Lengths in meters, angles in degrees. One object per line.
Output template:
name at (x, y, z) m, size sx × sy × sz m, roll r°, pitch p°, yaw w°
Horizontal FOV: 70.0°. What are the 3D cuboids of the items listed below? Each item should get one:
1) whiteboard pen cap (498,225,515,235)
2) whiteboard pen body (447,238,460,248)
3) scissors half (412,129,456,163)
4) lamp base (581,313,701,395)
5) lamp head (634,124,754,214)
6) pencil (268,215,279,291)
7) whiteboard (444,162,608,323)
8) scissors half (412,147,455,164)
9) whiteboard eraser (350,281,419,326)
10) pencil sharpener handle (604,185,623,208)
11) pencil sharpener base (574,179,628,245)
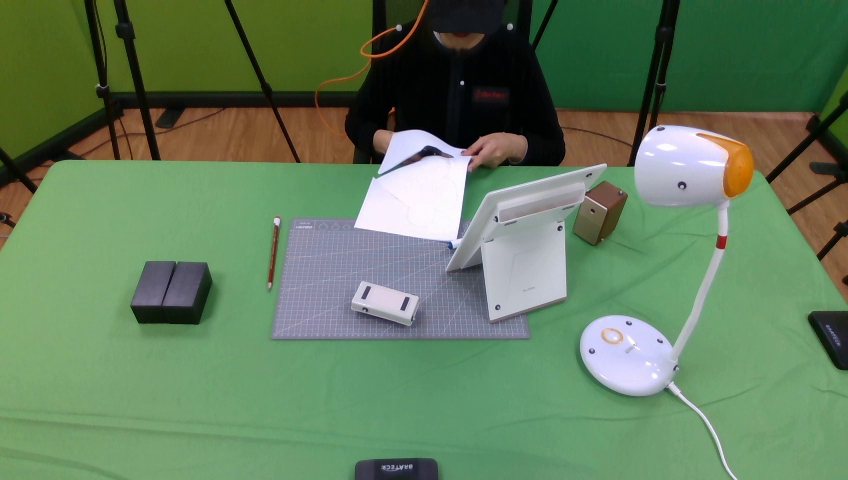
whiteboard pen cap at (0.166, -0.019, 1.222) m, size 0.033 × 0.018 × 0.018 m, roll -14°, pitch 49°, yaw -19°
whiteboard pen body at (0.112, -0.006, 1.204) m, size 0.141 × 0.017 × 0.017 m, roll -14°, pitch 49°, yaw -18°
scissors half at (0.021, -0.211, 1.371) m, size 0.013 × 0.040 × 0.174 m, roll -19°, pitch 41°, yaw -28°
lamp base at (0.361, 0.144, 0.972) m, size 0.178 × 0.181 × 0.160 m, roll 34°, pitch 53°, yaw 23°
lamp head at (0.351, -0.089, 0.775) m, size 0.112 × 0.113 × 0.122 m, roll -30°, pitch 30°, yaw -28°
pencil at (-0.291, 0.022, 1.164) m, size 0.012 × 0.012 × 0.192 m, roll -2°, pitch 48°, yaw -6°
whiteboard at (0.186, 0.025, 1.029) m, size 0.217 × 0.306 × 0.143 m, roll -14°, pitch 68°, yaw -18°
scissors half at (0.021, -0.191, 1.379) m, size 0.013 × 0.040 × 0.174 m, roll -14°, pitch 15°, yaw -30°
whiteboard eraser at (-0.069, 0.113, 1.065) m, size 0.112 × 0.042 × 0.055 m, roll 14°, pitch 46°, yaw 9°
pencil sharpener handle at (0.390, -0.091, 1.235) m, size 0.030 × 0.068 × 0.036 m, roll -33°, pitch 69°, yaw -31°
pencil sharpener base at (0.355, -0.057, 1.217) m, size 0.076 × 0.107 × 0.061 m, roll -33°, pitch 56°, yaw -31°
